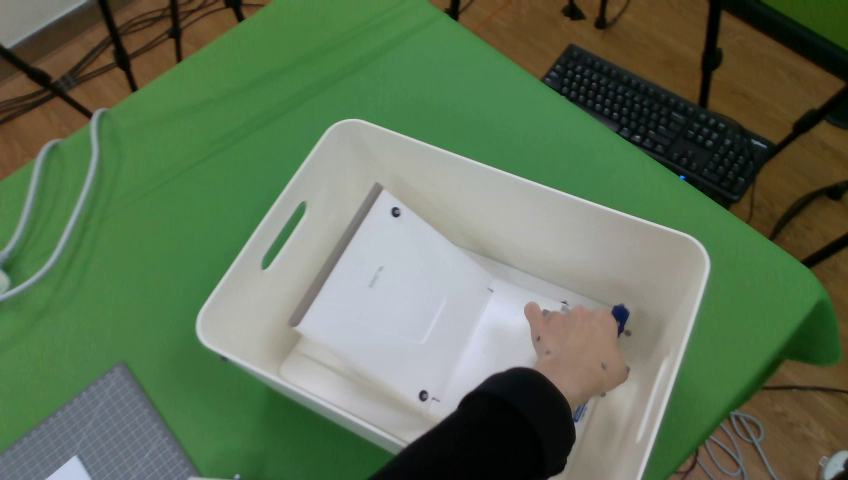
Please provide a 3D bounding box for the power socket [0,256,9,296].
[{"bbox_3d":[-0.580,0.098,0.684,0.071,0.033,0.226,38,71,21],"label":"power socket"}]

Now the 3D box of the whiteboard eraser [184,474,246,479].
[{"bbox_3d":[-0.198,0.271,0.545,0.055,0.042,0.112,0,62,8],"label":"whiteboard eraser"}]

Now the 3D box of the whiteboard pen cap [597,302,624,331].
[{"bbox_3d":[0.183,0.079,0.596,0.018,0.018,0.033,24,67,18],"label":"whiteboard pen cap"}]

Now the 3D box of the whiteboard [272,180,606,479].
[{"bbox_3d":[0.018,0.073,0.577,0.304,0.145,0.216,20,63,15],"label":"whiteboard"}]

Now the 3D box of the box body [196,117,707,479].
[{"bbox_3d":[0.026,0.075,0.562,0.362,0.162,0.253,22,66,16],"label":"box body"}]

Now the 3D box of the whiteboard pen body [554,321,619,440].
[{"bbox_3d":[0.157,0.123,0.569,0.017,0.017,0.140,25,64,18],"label":"whiteboard pen body"}]
